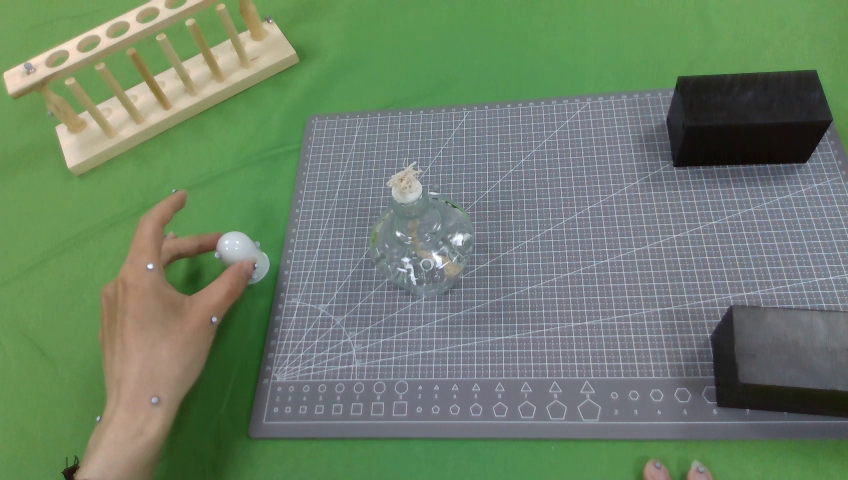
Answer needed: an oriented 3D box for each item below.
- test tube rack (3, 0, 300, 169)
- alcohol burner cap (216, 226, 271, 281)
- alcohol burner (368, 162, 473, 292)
[{"bbox_3d":[-0.251,-0.170,0.579,0.242,0.086,0.066,-30,60,-8],"label":"test tube rack"},{"bbox_3d":[-0.146,0.009,0.485,0.034,0.048,0.033,-5,60,8],"label":"alcohol burner cap"},{"bbox_3d":[-0.005,-0.012,0.428,0.078,0.120,0.077,-4,57,7],"label":"alcohol burner"}]
